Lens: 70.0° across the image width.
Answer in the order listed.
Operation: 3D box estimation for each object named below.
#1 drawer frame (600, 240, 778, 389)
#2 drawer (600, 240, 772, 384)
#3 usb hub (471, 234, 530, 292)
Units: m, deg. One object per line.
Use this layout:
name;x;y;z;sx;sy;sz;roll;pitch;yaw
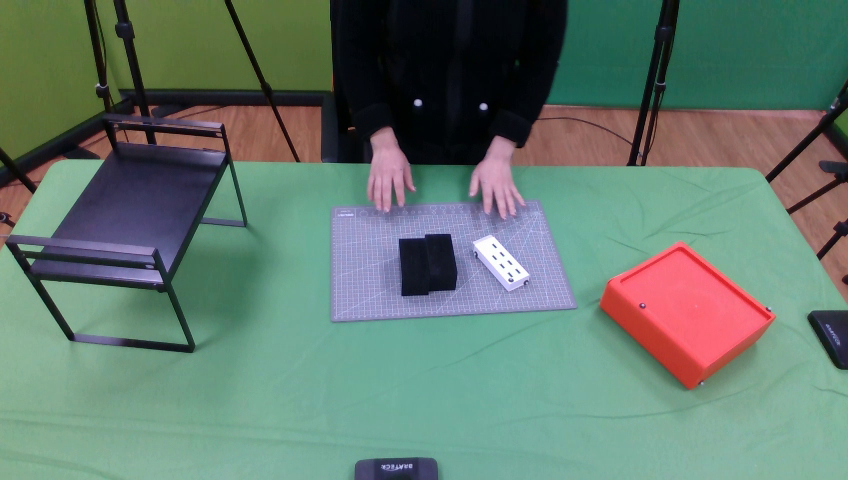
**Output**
drawer frame;0.460;0.122;1.068;0.202;0.083;0.212;-25;53;-25
drawer;0.457;0.121;1.071;0.194;0.073;0.210;-23;52;-25
usb hub;0.145;0.042;1.160;0.049;0.025;0.124;-23;51;-23
